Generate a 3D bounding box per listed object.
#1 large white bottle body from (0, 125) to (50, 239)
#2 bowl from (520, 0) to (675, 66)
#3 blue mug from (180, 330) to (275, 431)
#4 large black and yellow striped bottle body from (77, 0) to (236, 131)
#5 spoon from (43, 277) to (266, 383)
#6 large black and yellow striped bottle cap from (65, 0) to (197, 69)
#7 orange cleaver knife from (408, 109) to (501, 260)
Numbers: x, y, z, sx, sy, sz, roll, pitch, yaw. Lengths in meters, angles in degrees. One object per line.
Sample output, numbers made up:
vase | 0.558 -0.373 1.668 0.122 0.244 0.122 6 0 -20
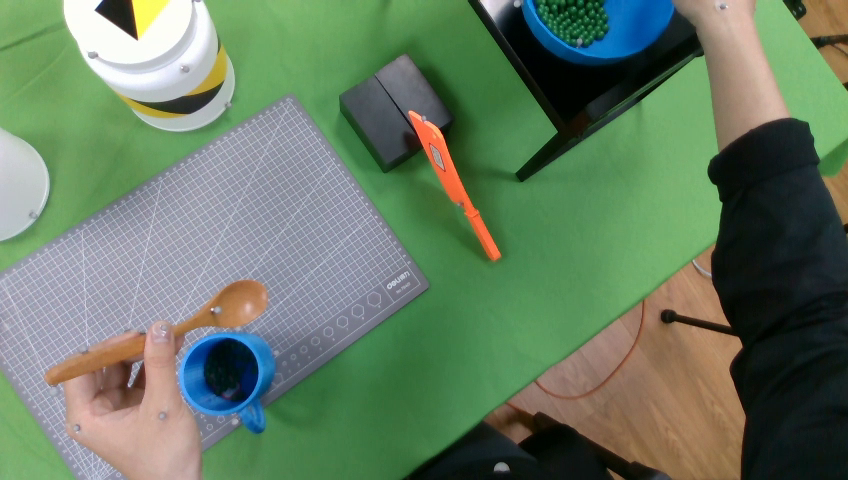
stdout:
large white bottle body | -0.488 -0.075 0.613 0.131 0.185 0.130 1 82 -7
bowl | 0.157 -0.232 0.594 0.152 0.077 0.151 1 83 -8
blue mug | -0.203 0.154 0.661 0.082 0.106 0.116 -27 87 -10
large black and yellow striped bottle body | -0.286 -0.207 0.658 0.131 0.184 0.130 1 82 -7
spoon | -0.190 0.066 0.459 0.021 0.194 0.042 9 104 23
large black and yellow striped bottle cap | -0.277 -0.220 0.575 0.115 0.019 0.114 1 83 -9
orange cleaver knife | 0.037 -0.064 0.734 0.012 0.076 0.213 -36 120 -12
